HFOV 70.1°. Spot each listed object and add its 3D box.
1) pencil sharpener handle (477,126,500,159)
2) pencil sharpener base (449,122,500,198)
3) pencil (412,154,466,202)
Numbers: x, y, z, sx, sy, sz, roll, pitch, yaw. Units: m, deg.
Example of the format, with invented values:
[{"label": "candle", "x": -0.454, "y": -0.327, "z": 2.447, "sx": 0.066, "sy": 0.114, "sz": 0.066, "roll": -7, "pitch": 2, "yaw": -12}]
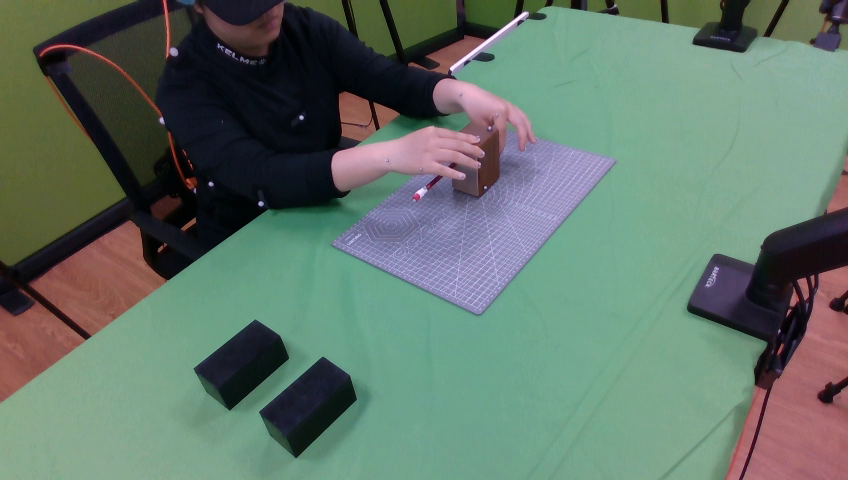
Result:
[{"label": "pencil sharpener handle", "x": 0.120, "y": -0.178, "z": 1.073, "sx": 0.035, "sy": 0.068, "sz": 0.031, "roll": 15, "pitch": 44, "yaw": 34}, {"label": "pencil sharpener base", "x": 0.090, "y": -0.140, "z": 1.052, "sx": 0.061, "sy": 0.107, "sz": 0.077, "roll": 20, "pitch": 47, "yaw": 29}, {"label": "pencil", "x": 0.041, "y": -0.116, "z": 0.987, "sx": 0.012, "sy": 0.012, "sz": 0.194, "roll": 21, "pitch": 46, "yaw": 30}]
